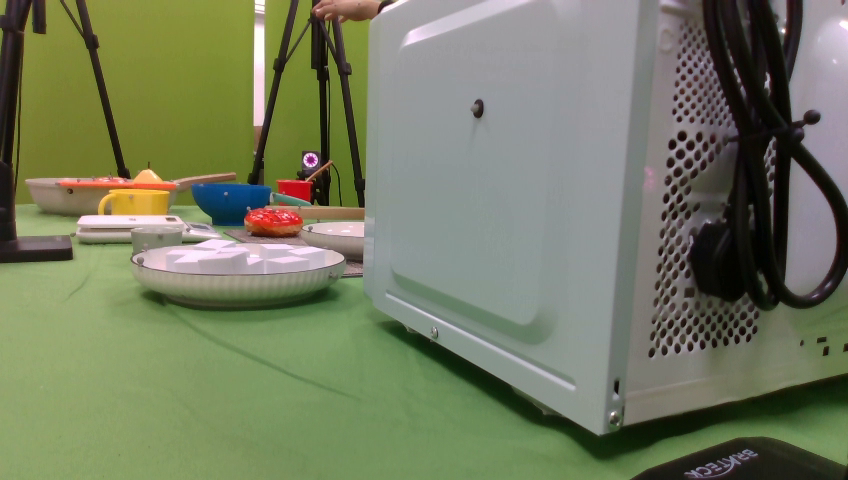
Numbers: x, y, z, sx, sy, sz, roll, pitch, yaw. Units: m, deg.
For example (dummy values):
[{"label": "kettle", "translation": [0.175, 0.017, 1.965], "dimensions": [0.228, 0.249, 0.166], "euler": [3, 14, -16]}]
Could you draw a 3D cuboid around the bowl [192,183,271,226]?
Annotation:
[{"label": "bowl", "translation": [-0.382, -0.071, 1.202], "dimensions": [0.151, 0.077, 0.151], "euler": [3, 7, 0]}]

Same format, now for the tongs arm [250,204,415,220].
[{"label": "tongs arm", "translation": [-0.213, -0.066, 1.441], "dimensions": [0.389, 0.027, 0.028], "euler": [1, -1, -17]}]

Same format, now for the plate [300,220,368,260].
[{"label": "plate", "translation": [-0.078, -0.001, 0.890], "dimensions": [0.209, 0.038, 0.209], "euler": [3, 8, 0]}]

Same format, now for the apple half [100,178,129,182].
[{"label": "apple half", "translation": [-0.638, -0.092, 1.265], "dimensions": [0.053, 0.074, 0.081], "euler": [7, 5, 10]}]

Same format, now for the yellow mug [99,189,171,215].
[{"label": "yellow mug", "translation": [-0.519, -0.055, 1.080], "dimensions": [0.099, 0.064, 0.131], "euler": [7, 10, 26]}]

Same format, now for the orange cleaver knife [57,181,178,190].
[{"label": "orange cleaver knife", "translation": [-0.600, -0.109, 1.189], "dimensions": [0.212, 0.012, 0.077], "euler": [-1, 11, -26]}]

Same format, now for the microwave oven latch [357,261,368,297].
[{"label": "microwave oven latch", "translation": [-0.019, 0.033, 0.531], "dimensions": [0.079, 0.029, 0.030], "euler": [-1, 7, -26]}]

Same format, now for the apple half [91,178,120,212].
[{"label": "apple half", "translation": [-0.677, -0.096, 1.271], "dimensions": [0.033, 0.081, 0.081], "euler": [7, 8, 10]}]

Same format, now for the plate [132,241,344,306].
[{"label": "plate", "translation": [-0.187, 0.033, 0.625], "dimensions": [0.208, 0.039, 0.207], "euler": [2, 8, 0]}]

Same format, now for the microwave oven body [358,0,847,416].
[{"label": "microwave oven body", "translation": [0.211, -0.047, 0.475], "dimensions": [0.444, 0.260, 0.324], "euler": [-1, 8, -28]}]

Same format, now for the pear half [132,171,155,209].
[{"label": "pear half", "translation": [-0.636, -0.113, 1.362], "dimensions": [0.031, 0.088, 0.070], "euler": [3, 13, 1]}]

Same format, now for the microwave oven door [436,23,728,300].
[{"label": "microwave oven door", "translation": [0.180, -0.072, 0.621], "dimensions": [0.358, 0.243, 0.039], "euler": [-2, 9, -29]}]

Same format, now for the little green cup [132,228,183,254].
[{"label": "little green cup", "translation": [-0.342, 0.006, 0.779], "dimensions": [0.061, 0.038, 0.061], "euler": [2, 8, 0]}]

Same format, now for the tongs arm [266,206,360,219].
[{"label": "tongs arm", "translation": [-0.175, -0.060, 1.364], "dimensions": [0.387, 0.026, 0.050], "euler": [0, 3, -32]}]

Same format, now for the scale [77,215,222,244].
[{"label": "scale", "translation": [-0.434, -0.019, 0.963], "dimensions": [0.202, 0.031, 0.148], "euler": [-1, 9, -27]}]

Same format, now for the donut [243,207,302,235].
[{"label": "donut", "translation": [-0.261, -0.032, 1.043], "dimensions": [0.099, 0.048, 0.099], "euler": [4, 9, 0]}]

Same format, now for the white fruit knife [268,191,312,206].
[{"label": "white fruit knife", "translation": [-0.364, -0.105, 1.464], "dimensions": [0.208, 0.027, 0.016], "euler": [15, -1, -34]}]

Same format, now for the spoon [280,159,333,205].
[{"label": "spoon", "translation": [-0.316, -0.159, 1.640], "dimensions": [0.194, 0.022, 0.041], "euler": [-50, 31, -20]}]

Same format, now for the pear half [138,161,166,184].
[{"label": "pear half", "translation": [-0.602, -0.120, 1.354], "dimensions": [0.056, 0.110, 0.076], "euler": [4, 11, 5]}]

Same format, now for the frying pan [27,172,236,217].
[{"label": "frying pan", "translation": [-0.624, -0.118, 1.387], "dimensions": [0.305, 0.102, 0.490], "euler": [8, 17, 32]}]

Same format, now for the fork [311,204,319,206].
[{"label": "fork", "translation": [-0.356, -0.105, 1.526], "dimensions": [0.208, 0.018, 0.028], "euler": [16, -5, -41]}]
